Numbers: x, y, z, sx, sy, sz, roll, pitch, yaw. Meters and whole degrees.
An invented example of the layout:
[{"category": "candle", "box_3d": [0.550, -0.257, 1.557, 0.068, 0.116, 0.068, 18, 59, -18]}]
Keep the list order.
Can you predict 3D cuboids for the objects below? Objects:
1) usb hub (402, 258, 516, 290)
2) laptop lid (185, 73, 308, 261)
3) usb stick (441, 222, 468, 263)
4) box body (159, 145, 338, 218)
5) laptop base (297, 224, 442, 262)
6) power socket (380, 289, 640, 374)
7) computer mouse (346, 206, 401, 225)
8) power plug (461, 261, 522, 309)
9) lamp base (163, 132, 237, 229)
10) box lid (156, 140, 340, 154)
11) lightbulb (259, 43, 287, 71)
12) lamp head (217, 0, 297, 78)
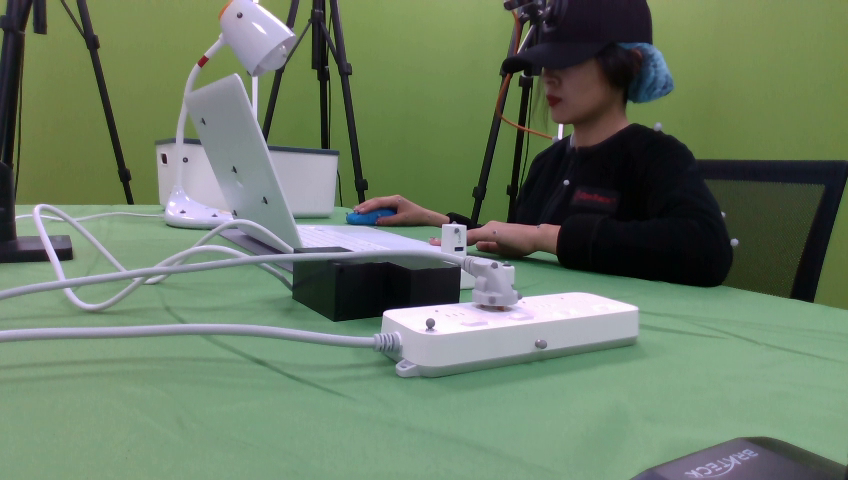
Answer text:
[{"category": "usb hub", "box_3d": [0.042, 0.038, 0.690, 0.126, 0.025, 0.049, -2, 9, -30]}, {"category": "laptop lid", "box_3d": [-0.262, -0.101, 0.850, 0.013, 0.242, 0.355, -26, 21, -25]}, {"category": "usb stick", "box_3d": [0.034, 0.009, 0.685, 0.021, 0.059, 0.027, -2, 10, -30]}, {"category": "box body", "box_3d": [-0.410, -0.139, 1.414, 0.366, 0.160, 0.253, -3, 8, -33]}, {"category": "laptop base", "box_3d": [-0.127, 0.003, 0.945, 0.237, 0.023, 0.352, 2, 6, -31]}, {"category": "power socket", "box_3d": [0.072, 0.064, 0.461, 0.228, 0.032, 0.072, -3, 7, -30]}, {"category": "computer mouse", "box_3d": [-0.112, -0.054, 1.336, 0.118, 0.041, 0.062, -4, 10, -23]}, {"category": "power plug", "box_3d": [0.043, 0.043, 0.444, 0.035, 0.052, 0.073, -5, 8, 44]}, {"category": "lamp base", "box_3d": [-0.419, -0.116, 1.156, 0.179, 0.180, 0.160, 0, 7, 0]}, {"category": "box lid", "box_3d": [-0.409, -0.212, 1.404, 0.373, 0.015, 0.262, -2, 8, -32]}, {"category": "lightbulb", "box_3d": [-0.295, -0.357, 1.103, 0.059, 0.107, 0.059, -37, 0, 0]}, {"category": "lamp head", "box_3d": [-0.315, -0.372, 1.102, 0.123, 0.112, 0.112, 41, 2, -9]}]
